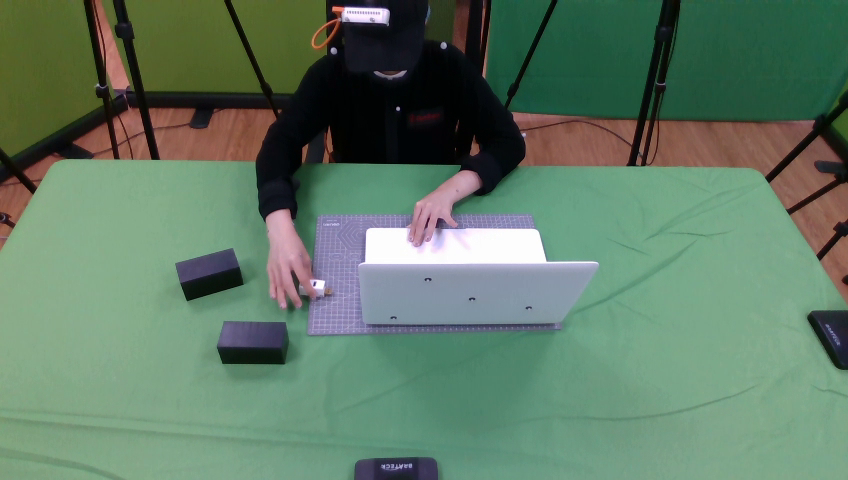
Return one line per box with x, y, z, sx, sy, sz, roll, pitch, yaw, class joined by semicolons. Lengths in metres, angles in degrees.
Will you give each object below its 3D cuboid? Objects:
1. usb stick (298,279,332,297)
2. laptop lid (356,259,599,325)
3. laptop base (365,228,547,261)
-0.195;0.087;1.092;0.059;0.027;0.021;8;48;-3;usb stick
0.074;0.089;0.958;0.357;0.242;0.013;1;60;-5;laptop lid
0.064;0.063;1.143;0.355;0.023;0.234;0;42;-4;laptop base
